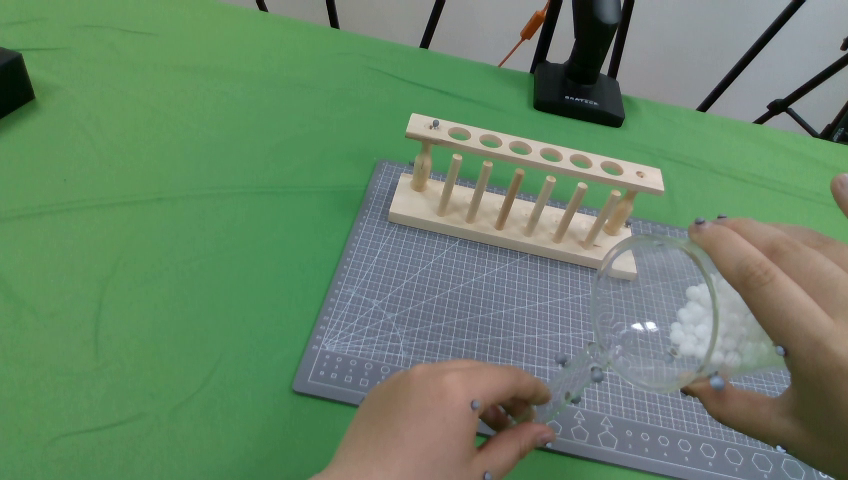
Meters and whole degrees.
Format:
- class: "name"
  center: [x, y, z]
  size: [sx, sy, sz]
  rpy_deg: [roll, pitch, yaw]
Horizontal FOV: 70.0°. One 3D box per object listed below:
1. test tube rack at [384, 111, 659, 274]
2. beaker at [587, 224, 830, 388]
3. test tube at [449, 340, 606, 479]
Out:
- class: "test tube rack"
  center: [0.090, -0.045, 0.581]
  size: [0.242, 0.086, 0.066]
  rpy_deg: [13, 43, -1]
- class: "beaker"
  center: [0.145, 0.034, 0.309]
  size: [0.101, 0.084, 0.073]
  rpy_deg: [0, 53, -28]
- class: "test tube"
  center: [0.055, 0.108, 0.356]
  size: [0.017, 0.151, 0.017]
  rpy_deg: [22, 37, -17]
